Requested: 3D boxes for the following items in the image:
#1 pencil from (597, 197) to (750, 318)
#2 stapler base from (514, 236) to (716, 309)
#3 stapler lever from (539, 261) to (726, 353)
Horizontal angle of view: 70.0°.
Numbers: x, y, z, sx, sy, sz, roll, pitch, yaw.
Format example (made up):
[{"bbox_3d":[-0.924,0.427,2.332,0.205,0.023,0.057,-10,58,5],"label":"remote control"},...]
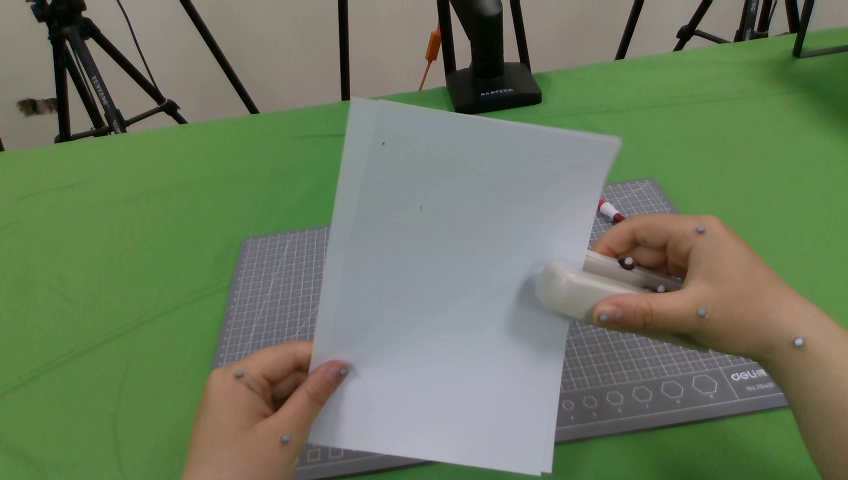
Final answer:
[{"bbox_3d":[0.221,0.011,0.555,0.012,0.012,0.192,-21,41,-15],"label":"pencil"},{"bbox_3d":[0.122,0.035,0.376,0.131,0.041,0.024,17,19,-11],"label":"stapler base"},{"bbox_3d":[0.124,0.041,0.356,0.118,0.027,0.040,19,18,-7],"label":"stapler lever"}]
